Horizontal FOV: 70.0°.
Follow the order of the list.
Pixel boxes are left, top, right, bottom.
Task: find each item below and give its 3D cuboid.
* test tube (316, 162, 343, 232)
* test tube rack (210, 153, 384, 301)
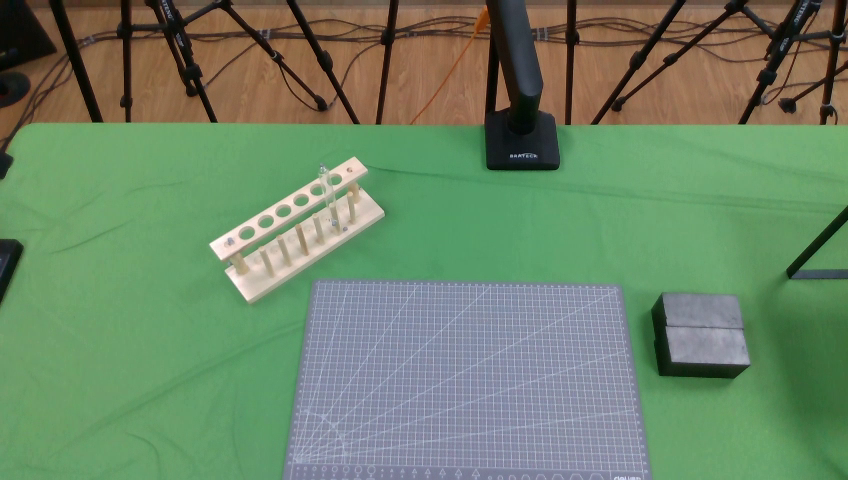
[{"bbox_3d":[-0.132,-0.058,0.854,0.017,0.151,0.017,-1,57,1],"label":"test tube"},{"bbox_3d":[-0.177,-0.021,0.885,0.242,0.086,0.066,-35,64,-19],"label":"test tube rack"}]
